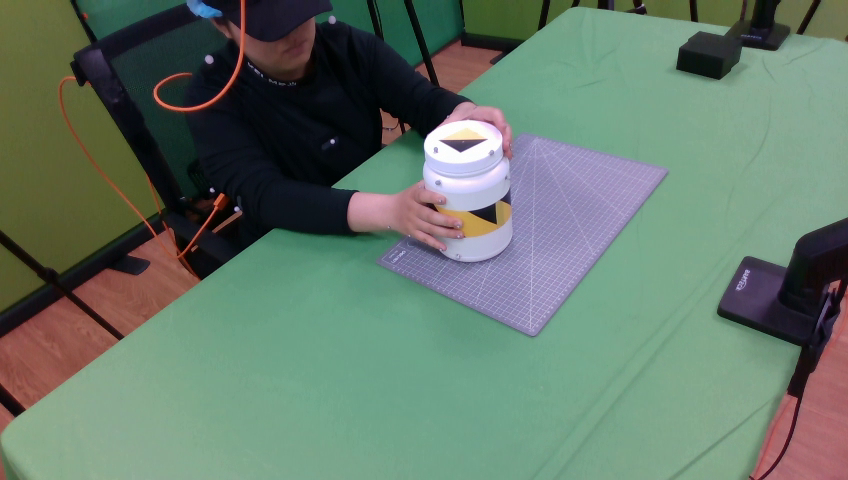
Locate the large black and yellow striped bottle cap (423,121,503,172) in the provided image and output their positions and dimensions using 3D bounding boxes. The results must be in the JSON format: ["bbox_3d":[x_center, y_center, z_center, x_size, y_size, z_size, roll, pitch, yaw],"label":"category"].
[{"bbox_3d":[0.056,-0.136,0.870,0.115,0.019,0.114,-4,40,4],"label":"large black and yellow striped bottle cap"}]

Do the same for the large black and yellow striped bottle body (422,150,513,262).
[{"bbox_3d":[0.068,-0.072,0.925,0.131,0.185,0.130,-6,40,5],"label":"large black and yellow striped bottle body"}]
